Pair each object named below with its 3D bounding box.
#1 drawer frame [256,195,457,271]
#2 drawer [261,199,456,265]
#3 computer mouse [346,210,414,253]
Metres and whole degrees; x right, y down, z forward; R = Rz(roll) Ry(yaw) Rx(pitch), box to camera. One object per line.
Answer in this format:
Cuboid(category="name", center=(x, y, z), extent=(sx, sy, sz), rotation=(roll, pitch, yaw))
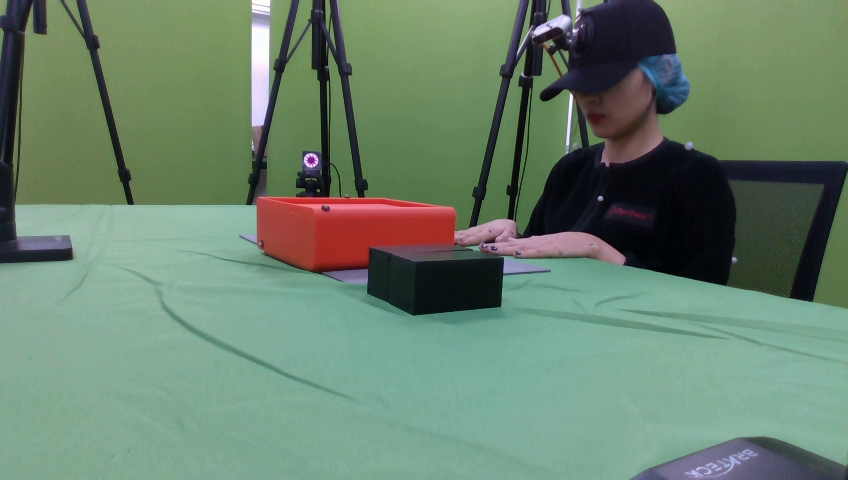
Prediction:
Cuboid(category="drawer frame", center=(-0.096, -0.017, 0.843), extent=(0.215, 0.082, 0.200), rotation=(-4, 10, -35))
Cuboid(category="drawer", center=(-0.094, -0.017, 0.844), extent=(0.213, 0.073, 0.193), rotation=(-3, 10, -34))
Cuboid(category="computer mouse", center=(-0.063, -0.014, 0.852), extent=(0.063, 0.041, 0.116), rotation=(0, 21, -31))
